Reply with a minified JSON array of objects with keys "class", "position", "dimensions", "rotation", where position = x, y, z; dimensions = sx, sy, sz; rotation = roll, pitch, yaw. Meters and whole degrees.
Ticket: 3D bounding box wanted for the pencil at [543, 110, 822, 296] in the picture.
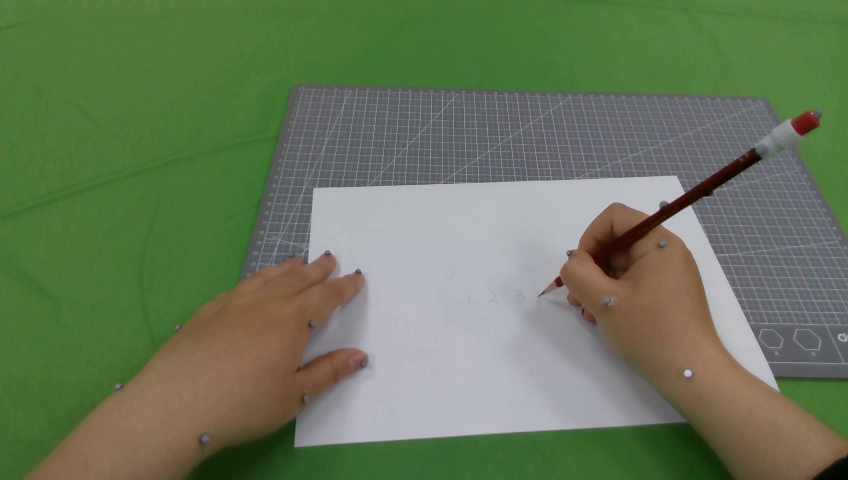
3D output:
[{"class":"pencil","position":[0.133,-0.010,0.350],"dimensions":[0.012,0.194,0.012],"rotation":[20,50,-25]}]
